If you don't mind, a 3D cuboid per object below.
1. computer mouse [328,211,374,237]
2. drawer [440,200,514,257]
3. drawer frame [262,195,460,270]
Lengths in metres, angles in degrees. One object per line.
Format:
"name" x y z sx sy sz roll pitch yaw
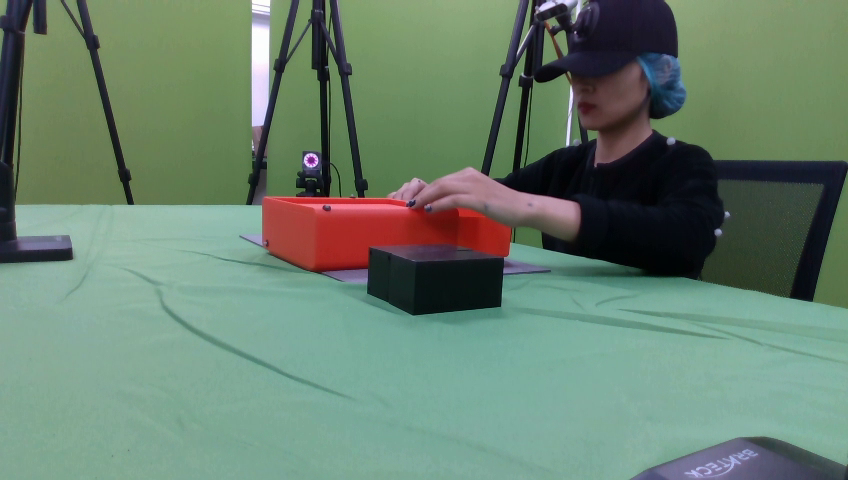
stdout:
"computer mouse" -0.131 -0.030 1.113 0.063 0.041 0.117 5 12 7
"drawer" -0.009 -0.019 0.896 0.213 0.073 0.193 -2 9 -32
"drawer frame" -0.091 -0.018 0.845 0.215 0.082 0.200 -3 10 -33
